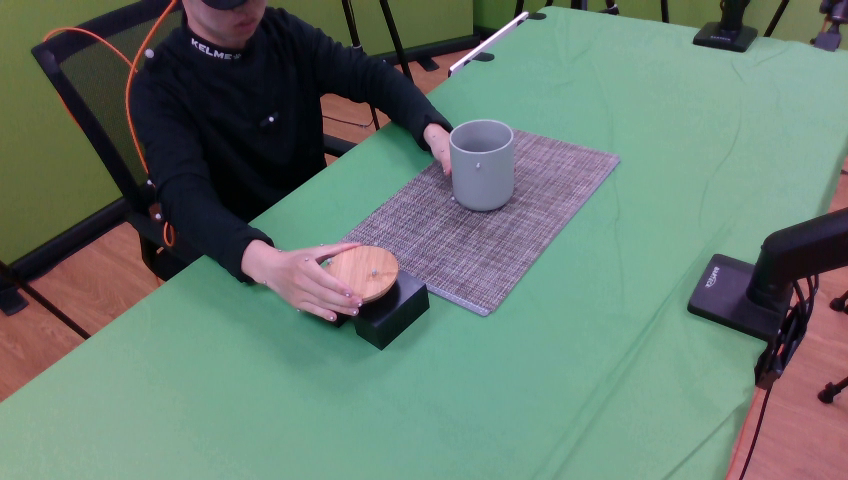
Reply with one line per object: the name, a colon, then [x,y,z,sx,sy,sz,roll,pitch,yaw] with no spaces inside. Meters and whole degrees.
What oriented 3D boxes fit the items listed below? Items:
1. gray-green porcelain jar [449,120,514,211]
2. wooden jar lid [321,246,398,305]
gray-green porcelain jar: [0.097,-0.120,1.008,0.106,0.127,0.105,-4,41,4]
wooden jar lid: [-0.088,0.051,0.836,0.108,0.021,0.108,-5,40,5]
